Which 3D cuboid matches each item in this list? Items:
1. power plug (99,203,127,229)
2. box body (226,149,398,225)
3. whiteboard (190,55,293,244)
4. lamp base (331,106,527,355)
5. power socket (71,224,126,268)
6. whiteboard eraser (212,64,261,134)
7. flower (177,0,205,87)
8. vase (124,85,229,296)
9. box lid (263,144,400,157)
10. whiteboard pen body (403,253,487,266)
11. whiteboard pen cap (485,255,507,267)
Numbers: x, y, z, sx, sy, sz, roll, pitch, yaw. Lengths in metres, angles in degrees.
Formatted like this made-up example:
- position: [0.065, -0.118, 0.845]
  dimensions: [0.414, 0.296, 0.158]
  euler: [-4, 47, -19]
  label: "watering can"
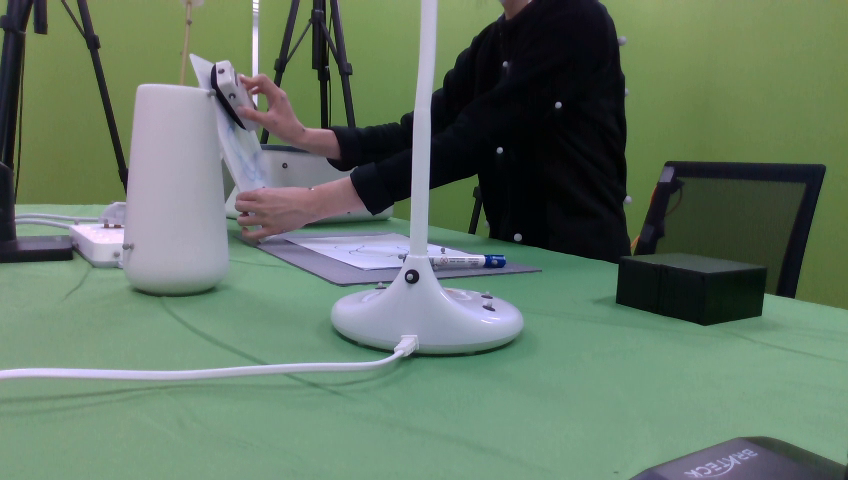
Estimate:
- position: [-0.415, -0.026, 0.848]
  dimensions: [0.073, 0.052, 0.035]
  euler: [6, 5, -28]
  label: "power plug"
- position: [-0.265, -0.129, 1.380]
  dimensions: [0.253, 0.160, 0.366]
  euler: [8, 9, 39]
  label: "box body"
- position: [-0.362, -0.129, 1.028]
  dimensions: [0.144, 0.305, 0.217]
  euler: [-18, 7, 3]
  label: "whiteboard"
- position: [0.006, -0.012, 0.478]
  dimensions: [0.161, 0.180, 0.179]
  euler: [2, 10, 2]
  label: "lamp base"
- position: [-0.409, 0.004, 0.793]
  dimensions: [0.072, 0.032, 0.225]
  euler: [-2, 8, -37]
  label: "power socket"
- position: [-0.306, -0.228, 0.985]
  dimensions: [0.042, 0.055, 0.113]
  euler: [-20, -32, 1]
  label: "whiteboard eraser"
- position: [-0.243, -0.131, 0.609]
  dimensions: [0.044, 0.361, 0.038]
  euler: [-5, -12, 12]
  label: "flower"
- position: [-0.244, -0.047, 0.598]
  dimensions: [0.098, 0.200, 0.098]
  euler: [3, 8, 0]
  label: "vase"
- position: [-0.263, -0.203, 1.369]
  dimensions: [0.262, 0.015, 0.373]
  euler: [9, 10, 39]
  label: "box lid"
- position: [0.039, 0.026, 0.785]
  dimensions: [0.141, 0.017, 0.017]
  euler: [2, 7, -24]
  label: "whiteboard pen body"
- position: [0.093, 0.028, 0.809]
  dimensions: [0.033, 0.018, 0.018]
  euler: [0, 8, -24]
  label: "whiteboard pen cap"
